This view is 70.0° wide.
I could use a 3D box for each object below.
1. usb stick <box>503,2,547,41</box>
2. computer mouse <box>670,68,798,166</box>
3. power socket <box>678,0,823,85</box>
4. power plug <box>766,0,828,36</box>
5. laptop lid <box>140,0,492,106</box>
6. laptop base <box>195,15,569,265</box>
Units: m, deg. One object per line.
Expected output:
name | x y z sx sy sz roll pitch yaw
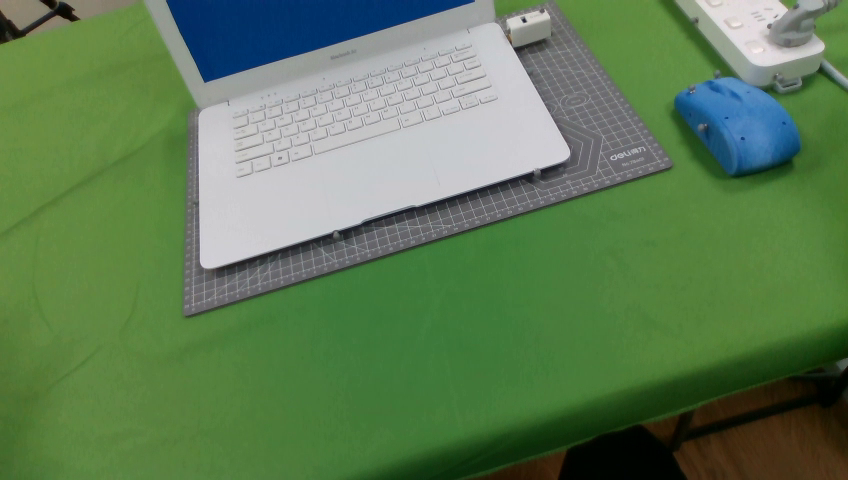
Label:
usb stick | 0.103 -0.236 0.659 0.059 0.027 0.021 -18 51 3
computer mouse | 0.269 -0.115 0.532 0.063 0.041 0.116 -18 46 2
power socket | 0.317 -0.241 0.620 0.072 0.033 0.224 -15 52 2
power plug | 0.355 -0.204 0.556 0.072 0.053 0.035 -6 55 8
laptop lid | -0.116 -0.288 0.617 0.357 0.244 0.013 -19 39 1
laptop base | -0.060 -0.112 0.619 0.354 0.023 0.233 -17 55 -1
